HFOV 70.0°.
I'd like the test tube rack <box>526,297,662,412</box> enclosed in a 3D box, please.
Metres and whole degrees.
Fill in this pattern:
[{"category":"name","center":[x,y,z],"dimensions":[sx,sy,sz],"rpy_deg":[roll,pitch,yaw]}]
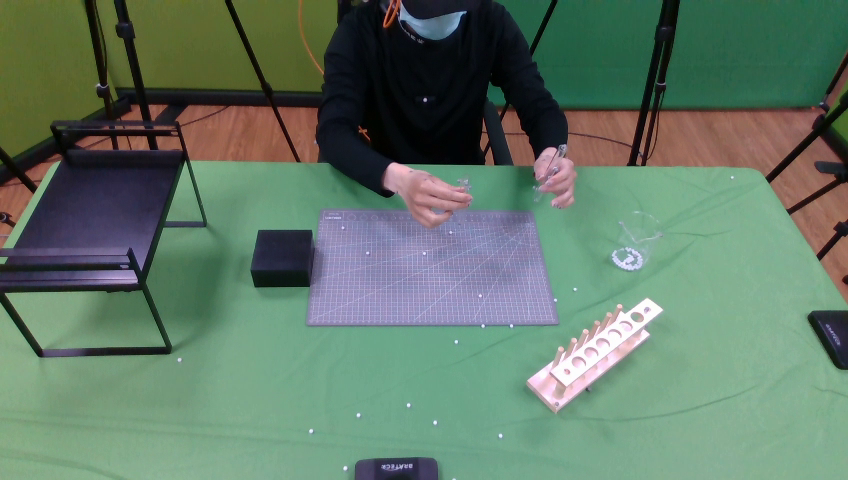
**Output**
[{"category":"test tube rack","center":[0.284,0.176,1.007],"dimensions":[0.242,0.085,0.066],"rpy_deg":[-29,54,-27]}]

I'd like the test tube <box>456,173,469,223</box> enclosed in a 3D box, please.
[{"category":"test tube","center":[0.070,-0.074,1.107],"dimensions":[0.017,0.151,0.017],"rpy_deg":[0,60,0]}]

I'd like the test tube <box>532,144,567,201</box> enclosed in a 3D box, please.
[{"category":"test tube","center":[0.225,-0.119,1.098],"dimensions":[0.017,0.151,0.017],"rpy_deg":[6,55,-8]}]

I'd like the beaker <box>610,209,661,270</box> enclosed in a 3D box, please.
[{"category":"beaker","center":[0.404,0.005,1.170],"dimensions":[0.074,0.101,0.083],"rpy_deg":[19,49,15]}]
